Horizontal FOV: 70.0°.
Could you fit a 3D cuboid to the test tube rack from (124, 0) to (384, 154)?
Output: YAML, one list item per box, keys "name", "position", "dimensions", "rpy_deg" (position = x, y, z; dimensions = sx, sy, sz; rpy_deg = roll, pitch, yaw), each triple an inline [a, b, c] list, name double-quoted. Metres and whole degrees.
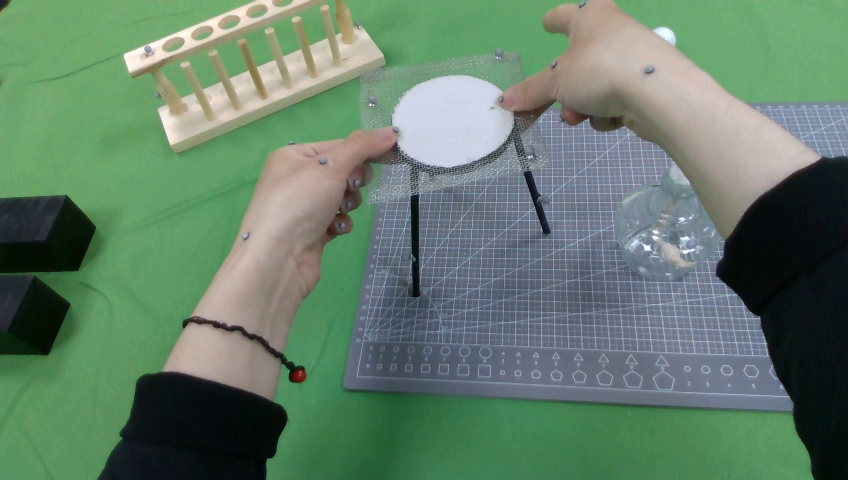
- name: "test tube rack"
  position: [-0.170, -0.188, 0.634]
  dimensions: [0.242, 0.086, 0.066]
  rpy_deg: [-26, 56, -10]

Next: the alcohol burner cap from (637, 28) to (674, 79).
- name: "alcohol burner cap"
  position: [0.233, -0.188, 0.602]
  dimensions: [0.034, 0.048, 0.033]
  rpy_deg: [-4, 56, 7]

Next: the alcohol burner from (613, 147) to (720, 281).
- name: "alcohol burner"
  position: [0.182, -0.022, 0.449]
  dimensions: [0.078, 0.120, 0.077]
  rpy_deg: [-4, 53, 6]

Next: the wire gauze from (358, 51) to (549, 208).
- name: "wire gauze"
  position: [0.015, -0.084, 0.420]
  dimensions: [0.121, 0.011, 0.124]
  rpy_deg: [-9, 58, 3]

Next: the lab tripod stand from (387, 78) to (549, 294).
- name: "lab tripod stand"
  position: [0.025, -0.043, 0.472]
  dimensions: [0.148, 0.133, 0.147]
  rpy_deg: [-3, 56, 6]
